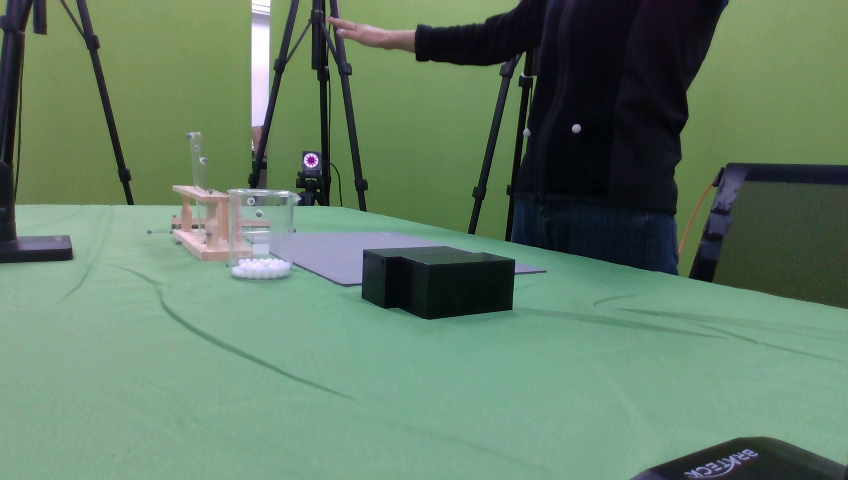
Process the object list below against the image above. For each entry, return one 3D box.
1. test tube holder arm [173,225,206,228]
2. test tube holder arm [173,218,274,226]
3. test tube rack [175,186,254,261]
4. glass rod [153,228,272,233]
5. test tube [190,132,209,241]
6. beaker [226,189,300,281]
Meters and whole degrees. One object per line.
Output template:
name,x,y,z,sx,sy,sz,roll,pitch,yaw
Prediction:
test tube holder arm,-0.414,-0.030,1.113,0.088,0.015,0.010,-1,-21,-25
test tube holder arm,-0.371,-0.033,1.128,0.179,0.015,0.013,-1,-22,-25
test tube rack,-0.314,-0.030,0.889,0.067,0.085,0.241,-2,8,-30
glass rod,-0.368,-0.017,1.065,0.201,0.008,0.008,-2,8,-27
test tube,-0.308,-0.074,0.840,0.017,0.150,0.017,-4,6,1
beaker,-0.184,-0.007,0.694,0.084,0.100,0.073,-1,8,-29
